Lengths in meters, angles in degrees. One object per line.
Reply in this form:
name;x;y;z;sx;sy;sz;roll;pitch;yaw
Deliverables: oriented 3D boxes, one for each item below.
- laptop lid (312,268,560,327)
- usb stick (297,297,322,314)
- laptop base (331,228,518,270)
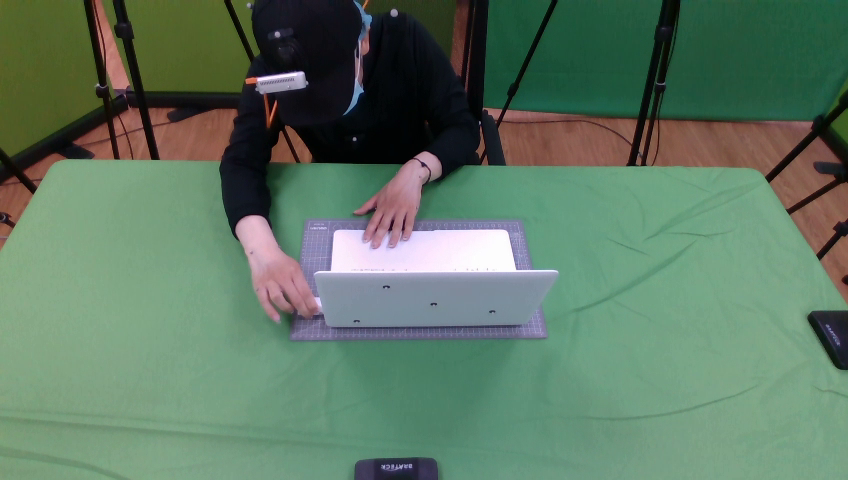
laptop lid;0.014;0.095;0.948;0.357;0.242;0.013;0;64;-5
usb stick;-0.191;0.114;1.056;0.059;0.027;0.021;3;47;-13
laptop base;0.003;0.064;1.135;0.355;0.023;0.234;0;42;-4
